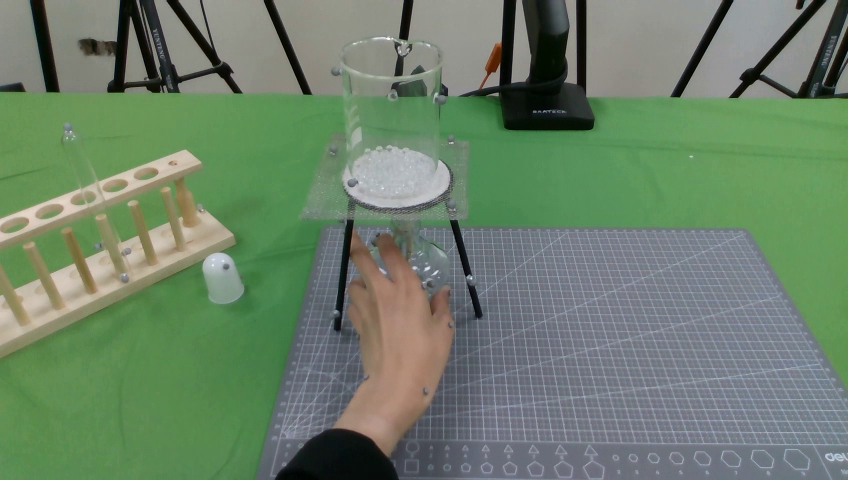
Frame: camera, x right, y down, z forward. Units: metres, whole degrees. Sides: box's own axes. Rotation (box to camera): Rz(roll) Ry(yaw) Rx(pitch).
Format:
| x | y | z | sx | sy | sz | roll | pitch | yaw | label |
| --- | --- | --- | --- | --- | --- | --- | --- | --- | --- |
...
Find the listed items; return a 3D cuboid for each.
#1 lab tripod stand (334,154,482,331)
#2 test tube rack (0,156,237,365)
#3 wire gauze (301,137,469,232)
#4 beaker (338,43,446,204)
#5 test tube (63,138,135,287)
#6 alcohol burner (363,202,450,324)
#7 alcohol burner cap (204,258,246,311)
| x | y | z | sx | sy | sz | roll | pitch | yaw | label |
| --- | --- | --- | --- | --- | --- | --- | --- | --- | --- |
| -0.016 | 0.004 | 0.521 | 0.148 | 0.132 | 0.147 | 1 | 38 | -1 | lab tripod stand |
| -0.304 | 0.014 | 0.553 | 0.242 | 0.086 | 0.066 | -30 | 47 | -32 | test tube rack |
| -0.025 | -0.046 | 0.478 | 0.121 | 0.011 | 0.124 | 2 | 41 | 3 | wire gauze |
| -0.022 | -0.086 | 0.449 | 0.074 | 0.101 | 0.083 | 8 | 39 | 7 | beaker |
| -0.279 | -0.020 | 0.524 | 0.017 | 0.151 | 0.017 | 0 | 37 | 0 | test tube |
| -0.015 | 0.016 | 0.523 | 0.078 | 0.120 | 0.077 | 1 | 40 | -1 | alcohol burner |
| -0.185 | 0.038 | 0.558 | 0.034 | 0.048 | 0.033 | 0 | 39 | 0 | alcohol burner cap |
